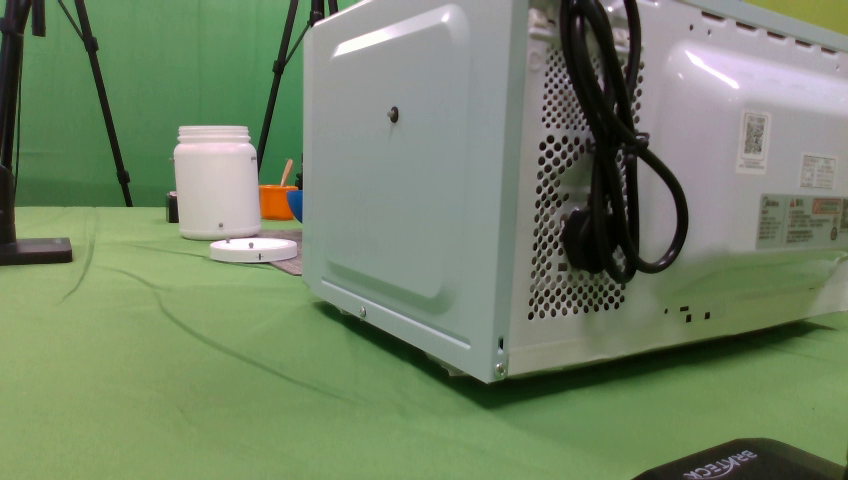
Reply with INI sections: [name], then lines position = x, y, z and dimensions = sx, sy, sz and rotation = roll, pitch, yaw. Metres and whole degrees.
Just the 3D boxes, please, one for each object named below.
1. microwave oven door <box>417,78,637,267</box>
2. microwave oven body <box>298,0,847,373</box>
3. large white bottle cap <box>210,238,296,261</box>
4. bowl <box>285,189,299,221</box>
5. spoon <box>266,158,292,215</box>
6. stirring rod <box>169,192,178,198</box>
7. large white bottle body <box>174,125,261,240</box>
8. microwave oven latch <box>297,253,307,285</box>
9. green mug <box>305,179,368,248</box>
[microwave oven door]
position = 0.132, -0.105, 0.893
dimensions = 0.354, 0.243, 0.039
rotation = 9, 10, 43
[microwave oven body]
position = 0.151, -0.055, 0.543
dimensions = 0.444, 0.260, 0.324
rotation = -1, 7, -33
[large white bottle cap]
position = -0.236, 0.012, 0.839
dimensions = 0.115, 0.018, 0.115
rotation = 1, 7, 0
[bowl]
position = -0.180, -0.050, 1.113
dimensions = 0.151, 0.077, 0.151
rotation = 3, 8, 0
[spoon]
position = -0.334, -0.127, 1.423
dimensions = 0.041, 0.193, 0.022
rotation = 0, -37, 7
[stirring rod]
position = -0.465, -0.098, 1.283
dimensions = 0.014, 0.006, 0.177
rotation = 42, 21, 17
[large white bottle body]
position = -0.349, -0.100, 1.025
dimensions = 0.131, 0.184, 0.130
rotation = -1, 9, 0
[microwave oven latch]
position = -0.082, 0.027, 0.583
dimensions = 0.079, 0.029, 0.030
rotation = -1, 7, -33
[green mug]
position = -0.133, -0.044, 0.977
dimensions = 0.092, 0.105, 0.126
rotation = 6, 8, 31
